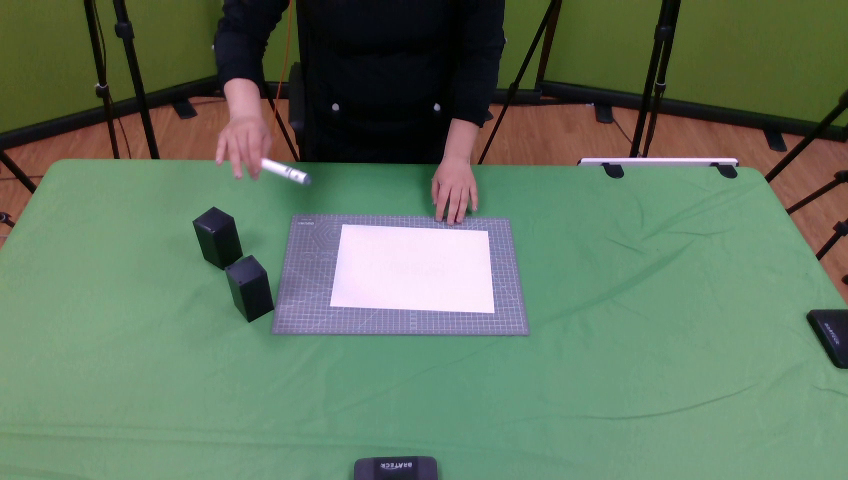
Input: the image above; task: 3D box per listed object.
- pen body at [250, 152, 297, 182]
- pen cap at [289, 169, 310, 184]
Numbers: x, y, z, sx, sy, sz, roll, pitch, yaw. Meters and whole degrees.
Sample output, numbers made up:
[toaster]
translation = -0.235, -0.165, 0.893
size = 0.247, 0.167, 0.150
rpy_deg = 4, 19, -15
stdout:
[pen body]
translation = -0.255, -0.123, 1.033
size = 0.017, 0.017, 0.143
rpy_deg = -32, 42, -30
[pen cap]
translation = -0.205, -0.104, 0.998
size = 0.038, 0.017, 0.017
rpy_deg = 22, 47, 33
